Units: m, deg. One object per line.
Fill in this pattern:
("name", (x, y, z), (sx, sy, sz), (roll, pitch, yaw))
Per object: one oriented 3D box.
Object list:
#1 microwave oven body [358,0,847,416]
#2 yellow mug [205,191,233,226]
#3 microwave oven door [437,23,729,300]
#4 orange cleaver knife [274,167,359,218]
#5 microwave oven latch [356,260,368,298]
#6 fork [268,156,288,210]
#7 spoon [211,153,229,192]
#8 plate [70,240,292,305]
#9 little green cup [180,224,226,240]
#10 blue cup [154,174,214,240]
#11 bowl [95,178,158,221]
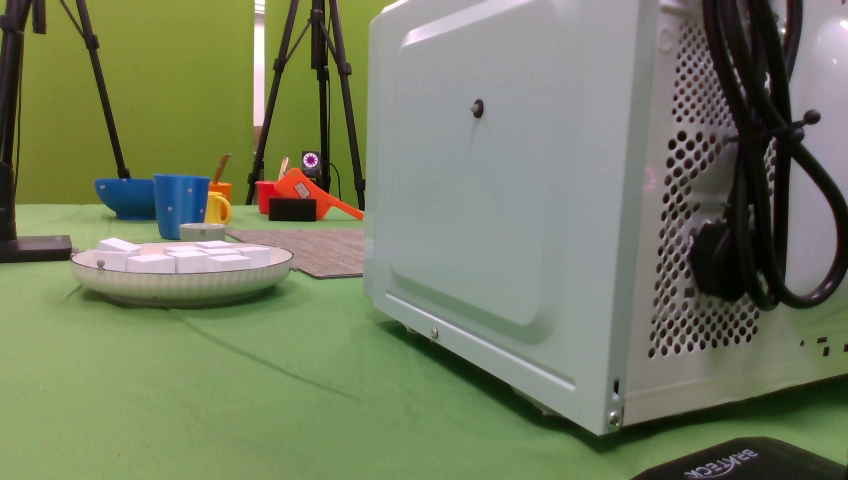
("microwave oven body", (0.211, -0.047, 0.474), (0.444, 0.260, 0.324), (-1, 8, -28))
("yellow mug", (-0.415, -0.057, 1.131), (0.130, 0.064, 0.100), (6, 8, 16))
("microwave oven door", (0.181, -0.072, 0.621), (0.358, 0.243, 0.039), (-2, 9, -29))
("orange cleaver knife", (-0.238, -0.091, 1.381), (0.212, 0.077, 0.012), (31, 0, -19))
("microwave oven latch", (-0.019, 0.033, 0.530), (0.079, 0.029, 0.030), (-1, 7, -26))
("fork", (-0.360, -0.144, 1.508), (0.028, 0.018, 0.207), (1, 49, 0))
("spoon", (-0.431, -0.115, 1.253), (0.042, 0.193, 0.021), (-3, 54, -33))
("plate", (-0.242, 0.031, 0.618), (0.208, 0.039, 0.207), (2, 8, 0))
("little green cup", (-0.308, -0.001, 0.846), (0.061, 0.038, 0.061), (2, 8, 0))
("blue cup", (-0.390, -0.053, 0.978), (0.093, 0.100, 0.092), (3, 6, 0))
("bowl", (-0.576, -0.081, 1.217), (0.151, 0.077, 0.151), (3, 8, 0))
